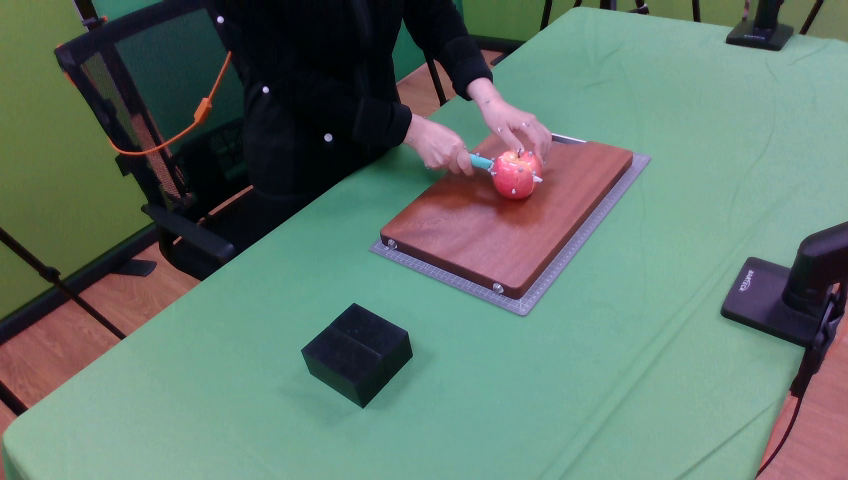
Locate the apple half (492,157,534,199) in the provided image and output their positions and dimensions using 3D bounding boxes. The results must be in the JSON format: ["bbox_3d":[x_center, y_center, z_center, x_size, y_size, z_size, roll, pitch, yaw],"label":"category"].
[{"bbox_3d":[0.140,-0.093,0.985,0.080,0.081,0.033,20,49,30],"label":"apple half"}]

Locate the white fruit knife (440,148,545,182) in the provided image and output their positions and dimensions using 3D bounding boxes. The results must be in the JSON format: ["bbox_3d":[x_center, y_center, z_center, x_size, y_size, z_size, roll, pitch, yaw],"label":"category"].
[{"bbox_3d":[0.110,-0.125,1.011,0.206,0.027,0.016,19,52,32],"label":"white fruit knife"}]

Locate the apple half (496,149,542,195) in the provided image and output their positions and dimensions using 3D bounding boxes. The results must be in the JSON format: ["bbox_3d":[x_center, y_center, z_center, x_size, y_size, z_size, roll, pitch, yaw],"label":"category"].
[{"bbox_3d":[0.163,-0.116,1.009,0.080,0.075,0.053,17,42,33],"label":"apple half"}]
